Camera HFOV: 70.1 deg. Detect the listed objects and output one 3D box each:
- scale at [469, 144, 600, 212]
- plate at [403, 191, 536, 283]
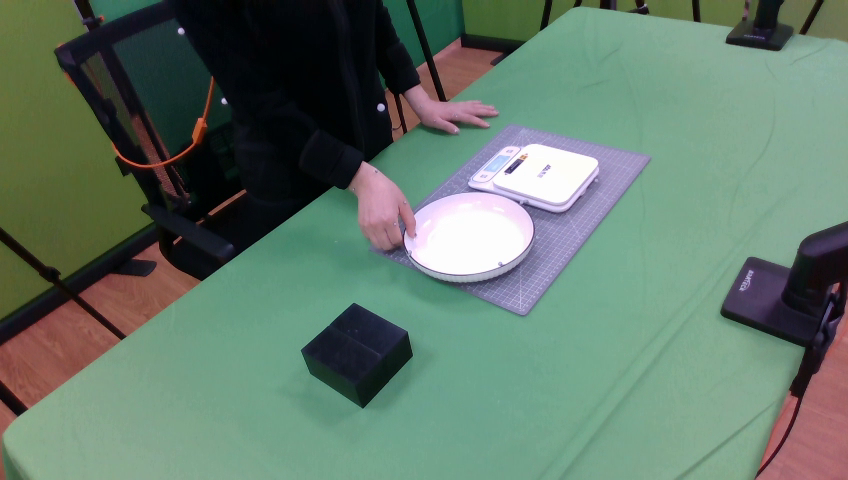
[{"bbox_3d":[0.194,-0.117,1.075,0.199,0.032,0.149,21,48,32],"label":"scale"},{"bbox_3d":[0.071,-0.003,0.959,0.209,0.038,0.208,-5,40,5],"label":"plate"}]
